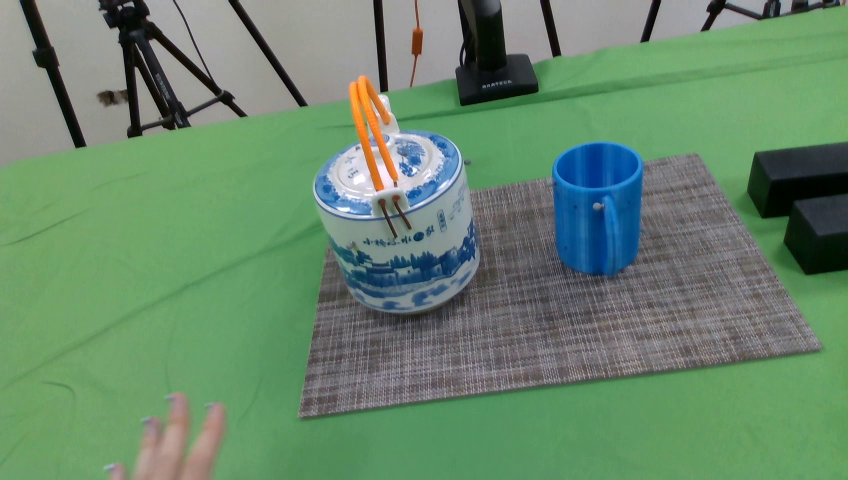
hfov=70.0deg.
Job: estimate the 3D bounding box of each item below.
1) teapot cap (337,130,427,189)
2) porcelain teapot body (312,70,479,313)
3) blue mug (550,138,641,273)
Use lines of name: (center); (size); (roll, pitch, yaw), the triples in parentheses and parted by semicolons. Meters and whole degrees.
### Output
teapot cap: (-0.039, -0.076, 0.554); (0.085, 0.044, 0.084); (-5, 39, 5)
porcelain teapot body: (-0.035, -0.065, 0.600); (0.145, 0.227, 0.203); (-14, 40, 1)
blue mug: (0.170, -0.024, 0.587); (0.082, 0.107, 0.115); (-9, 41, 6)
